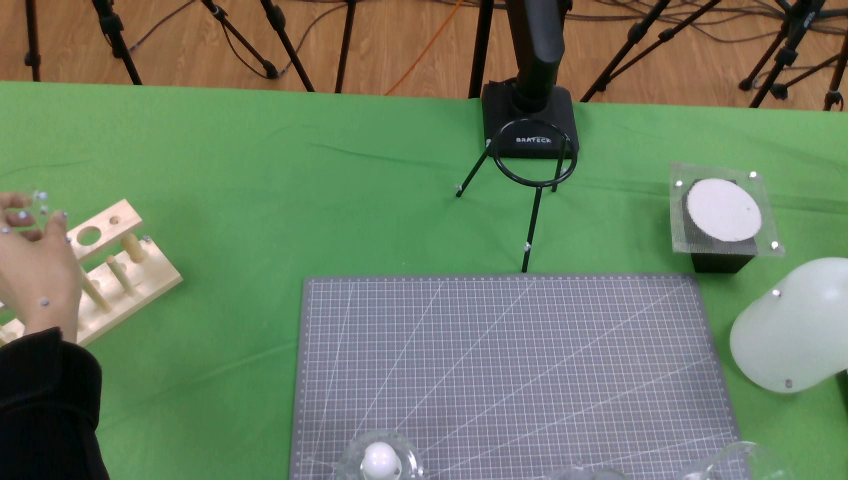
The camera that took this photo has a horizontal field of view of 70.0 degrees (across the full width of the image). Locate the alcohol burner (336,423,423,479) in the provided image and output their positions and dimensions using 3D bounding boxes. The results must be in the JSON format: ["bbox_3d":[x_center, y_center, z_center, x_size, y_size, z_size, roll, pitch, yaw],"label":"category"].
[{"bbox_3d":[-0.038,0.194,0.527,0.078,0.120,0.077,3,59,-5],"label":"alcohol burner"}]

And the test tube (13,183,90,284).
[{"bbox_3d":[-0.345,-0.001,0.567,0.017,0.151,0.017,4,55,-6],"label":"test tube"}]

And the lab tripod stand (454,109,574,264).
[{"bbox_3d":[0.109,-0.066,0.675,0.148,0.132,0.147,3,61,-5],"label":"lab tripod stand"}]

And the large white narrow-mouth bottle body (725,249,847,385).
[{"bbox_3d":[0.382,0.067,0.587,0.102,0.196,0.101,2,60,-3],"label":"large white narrow-mouth bottle body"}]

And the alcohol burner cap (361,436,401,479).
[{"bbox_3d":[-0.036,0.177,0.495,0.034,0.048,0.033,-1,60,2],"label":"alcohol burner cap"}]

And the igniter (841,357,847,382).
[{"bbox_3d":[0.462,0.211,0.609,0.057,0.025,0.274,9,60,-11],"label":"igniter"}]

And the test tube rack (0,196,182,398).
[{"bbox_3d":[-0.372,0.066,0.591,0.242,0.086,0.066,-38,70,-22],"label":"test tube rack"}]

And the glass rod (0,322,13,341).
[{"bbox_3d":[-0.402,0.039,0.528,0.008,0.201,0.008,4,52,-5],"label":"glass rod"}]

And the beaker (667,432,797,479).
[{"bbox_3d":[0.267,0.221,0.543,0.084,0.101,0.073,5,60,0],"label":"beaker"}]

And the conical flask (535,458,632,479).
[{"bbox_3d":[0.140,0.218,0.522,0.075,0.123,0.074,2,60,-3],"label":"conical flask"}]

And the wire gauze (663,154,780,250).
[{"bbox_3d":[0.337,-0.044,0.696,0.121,0.011,0.124,6,60,-1],"label":"wire gauze"}]
